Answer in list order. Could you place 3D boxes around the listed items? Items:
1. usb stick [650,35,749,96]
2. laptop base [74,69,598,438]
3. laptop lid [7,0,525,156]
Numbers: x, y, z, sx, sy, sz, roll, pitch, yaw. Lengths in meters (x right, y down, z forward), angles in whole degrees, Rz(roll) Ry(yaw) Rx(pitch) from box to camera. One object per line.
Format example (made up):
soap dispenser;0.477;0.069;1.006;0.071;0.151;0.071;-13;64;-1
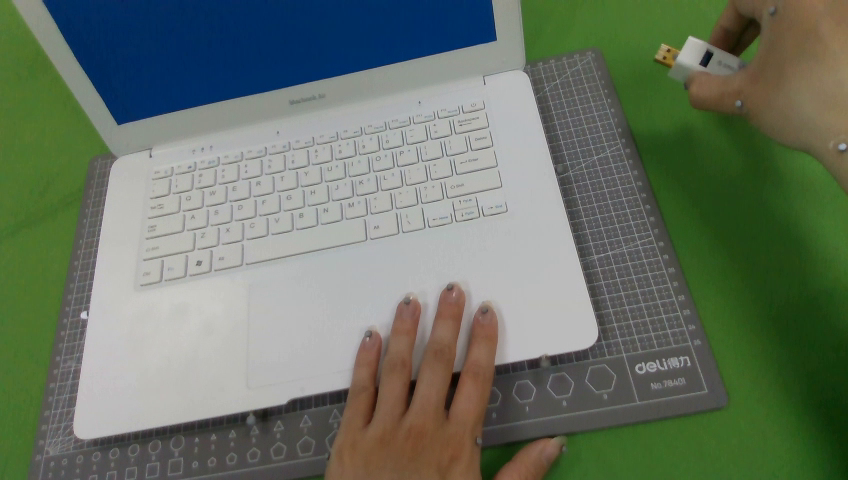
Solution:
usb stick;0.181;-0.119;0.405;0.059;0.027;0.021;26;92;18
laptop base;-0.076;0.001;0.446;0.354;0.023;0.233;-11;63;5
laptop lid;-0.114;-0.185;0.424;0.356;0.244;0.013;-12;42;6
